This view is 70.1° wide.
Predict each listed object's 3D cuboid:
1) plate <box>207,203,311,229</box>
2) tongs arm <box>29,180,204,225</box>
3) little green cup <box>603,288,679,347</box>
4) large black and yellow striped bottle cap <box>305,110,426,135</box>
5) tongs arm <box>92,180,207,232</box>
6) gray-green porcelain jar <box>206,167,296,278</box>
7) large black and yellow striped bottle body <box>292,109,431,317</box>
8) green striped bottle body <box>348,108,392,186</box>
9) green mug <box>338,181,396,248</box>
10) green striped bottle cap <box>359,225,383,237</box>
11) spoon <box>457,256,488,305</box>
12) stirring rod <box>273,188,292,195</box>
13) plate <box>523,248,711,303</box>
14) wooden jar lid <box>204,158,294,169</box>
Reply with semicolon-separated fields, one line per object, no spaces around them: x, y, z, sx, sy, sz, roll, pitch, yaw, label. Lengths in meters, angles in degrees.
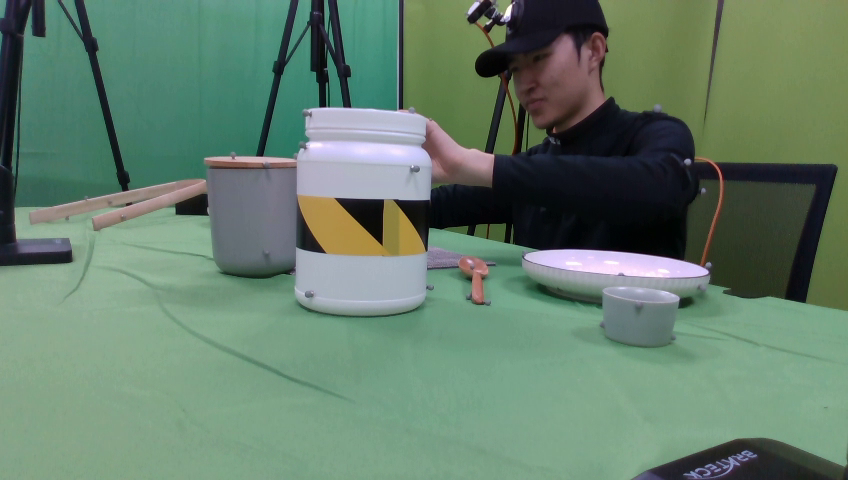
-0.342;-0.050;1.259;0.208;0.039;0.207;2;7;0;plate
-0.609;-0.083;1.245;0.050;0.026;0.386;5;16;23;tongs arm
0.180;0.064;0.505;0.061;0.038;0.061;2;7;0;little green cup
-0.055;-0.110;0.574;0.115;0.019;0.115;1;7;0;large black and yellow striped bottle cap
-0.534;-0.076;1.221;0.028;0.028;0.388;-2;15;12;tongs arm
-0.201;-0.024;0.724;0.106;0.126;0.106;-1;9;1;gray-green porcelain jar
-0.060;-0.028;0.585;0.131;0.184;0.130;3;7;0;large black and yellow striped bottle body
-0.081;-0.133;0.909;0.063;0.063;0.119;2;-36;-4;green striped bottle body
-0.097;-0.044;0.995;0.093;0.105;0.125;-1;8;-22;green mug
-0.101;-0.016;1.138;0.044;0.020;0.044;-3;8;1;green striped bottle cap
0.059;0.044;0.696;0.041;0.021;0.193;22;7;0;spoon
-0.354;-0.122;1.519;0.006;0.014;0.176;2;6;1;stirring rod
0.219;0.041;0.706;0.209;0.038;0.209;2;7;0;plate
-0.202;-0.086;0.714;0.108;0.020;0.108;3;11;0;wooden jar lid
